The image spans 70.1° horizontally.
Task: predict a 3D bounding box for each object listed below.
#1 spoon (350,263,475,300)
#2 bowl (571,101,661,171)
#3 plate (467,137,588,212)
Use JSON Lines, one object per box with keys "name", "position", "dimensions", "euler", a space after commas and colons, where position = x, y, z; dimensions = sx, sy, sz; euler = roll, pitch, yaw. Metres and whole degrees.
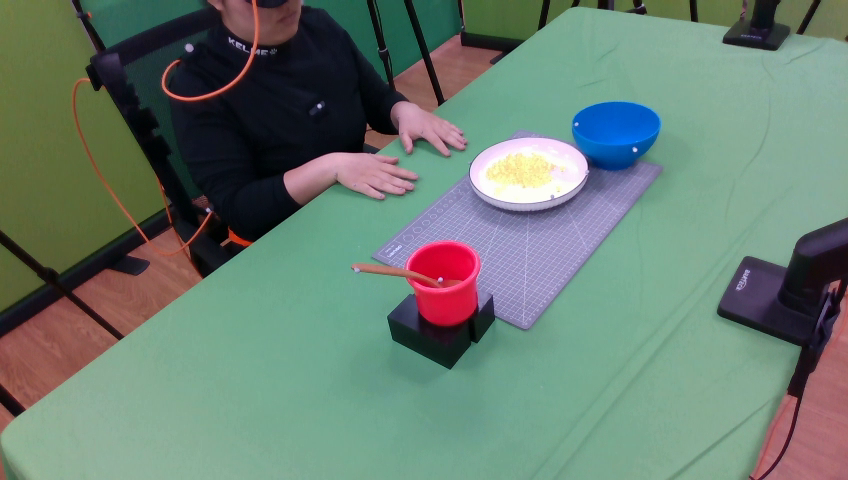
{"name": "spoon", "position": [-0.010, 0.048, 0.754], "dimensions": [0.195, 0.021, 0.041], "euler": [19, 26, -39]}
{"name": "bowl", "position": [0.339, -0.177, 1.079], "dimensions": [0.151, 0.077, 0.150], "euler": [-5, 40, 5]}
{"name": "plate", "position": [0.181, -0.112, 1.064], "dimensions": [0.207, 0.039, 0.206], "euler": [-5, 40, 5]}
